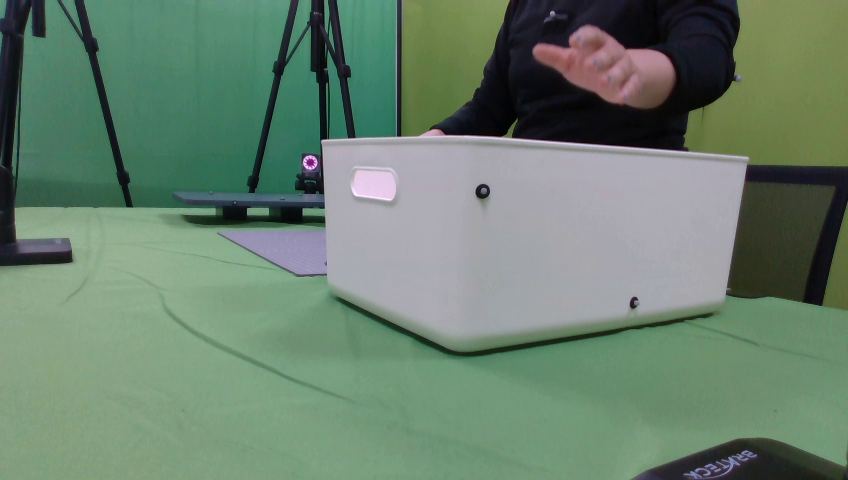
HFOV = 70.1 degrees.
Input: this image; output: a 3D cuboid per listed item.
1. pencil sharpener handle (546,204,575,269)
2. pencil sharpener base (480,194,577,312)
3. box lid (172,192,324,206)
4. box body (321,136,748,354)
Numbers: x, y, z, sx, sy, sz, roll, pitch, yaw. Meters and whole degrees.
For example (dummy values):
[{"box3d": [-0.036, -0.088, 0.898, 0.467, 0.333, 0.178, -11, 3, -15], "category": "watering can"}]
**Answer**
[{"box3d": [0.145, -0.003, 0.619, 0.031, 0.067, 0.036, -1, 17, -33], "category": "pencil sharpener handle"}, {"box3d": [0.103, 0.011, 0.591, 0.077, 0.107, 0.061, -1, 7, -33], "category": "pencil sharpener base"}, {"box3d": [-0.355, -0.091, 1.350, 0.373, 0.015, 0.262, -1, 8, -29], "category": "box lid"}, {"box3d": [0.105, -0.011, 0.604, 0.366, 0.160, 0.253, -2, 8, -33], "category": "box body"}]
